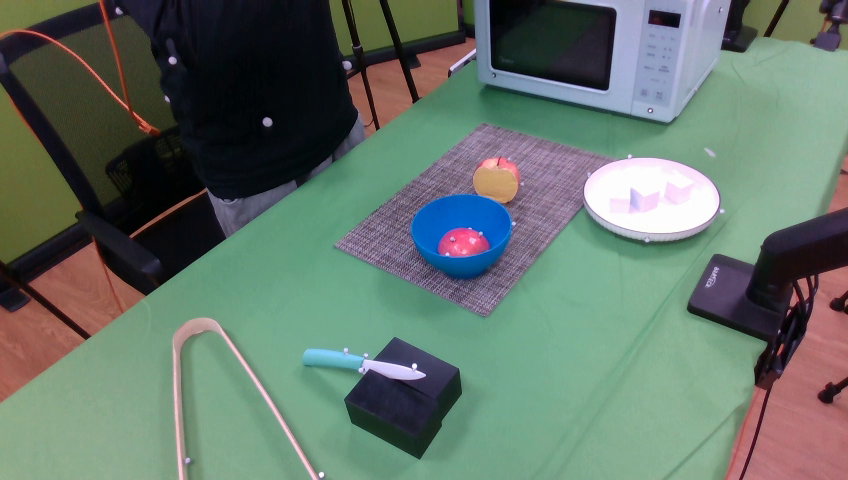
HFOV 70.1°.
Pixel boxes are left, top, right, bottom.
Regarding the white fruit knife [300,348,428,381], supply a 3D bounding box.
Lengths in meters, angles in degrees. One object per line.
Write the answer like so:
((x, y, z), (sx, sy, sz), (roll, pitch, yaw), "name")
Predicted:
((-0.079, 0.154, 0.748), (0.206, 0.027, 0.016), (0, 20, 34), "white fruit knife")

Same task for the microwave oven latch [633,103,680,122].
((0.443, -0.249, 1.157), (0.078, 0.029, 0.030), (21, 48, 30), "microwave oven latch")

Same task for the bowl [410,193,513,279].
((0.058, 0.005, 0.905), (0.151, 0.077, 0.150), (-4, 40, 3), "bowl")

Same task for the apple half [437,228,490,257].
((0.056, 0.002, 0.901), (0.081, 0.033, 0.081), (-3, 41, 3), "apple half")

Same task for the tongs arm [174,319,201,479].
((-0.272, 0.234, 0.723), (0.051, 0.026, 0.381), (-19, 40, -15), "tongs arm")

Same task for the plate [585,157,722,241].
((0.367, -0.063, 0.979), (0.207, 0.039, 0.206), (-4, 40, 4), "plate")

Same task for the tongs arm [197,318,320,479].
((-0.200, 0.207, 0.750), (0.028, 0.028, 0.384), (-31, 45, -22), "tongs arm")

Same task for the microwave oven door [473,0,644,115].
((0.257, -0.396, 1.199), (0.353, 0.245, 0.039), (21, 48, 29), "microwave oven door")

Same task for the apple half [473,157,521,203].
((0.128, -0.107, 1.030), (0.080, 0.075, 0.053), (4, 38, 19), "apple half")

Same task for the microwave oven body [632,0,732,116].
((0.377, -0.462, 1.267), (0.438, 0.261, 0.327), (21, 48, 30), "microwave oven body")
